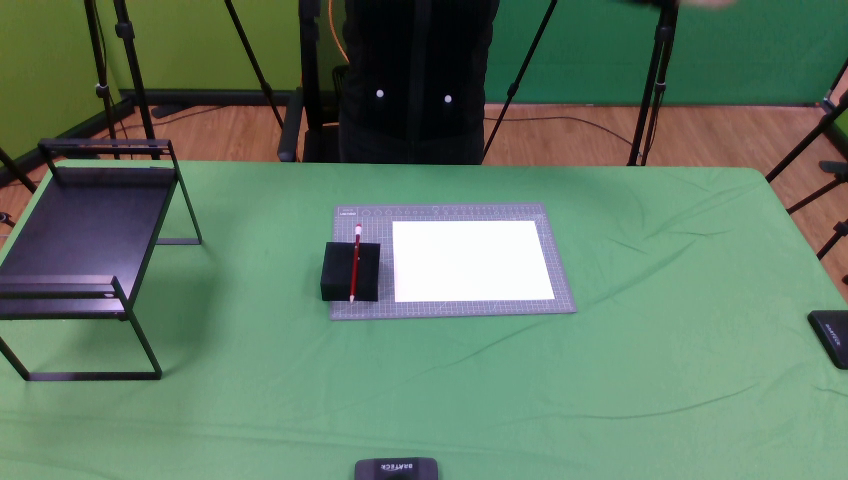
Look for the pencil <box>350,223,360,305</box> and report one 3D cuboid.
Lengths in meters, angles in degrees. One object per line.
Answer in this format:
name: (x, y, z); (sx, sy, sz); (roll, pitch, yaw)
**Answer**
pencil: (-0.124, 0.040, 1.086); (0.012, 0.012, 0.193); (1, 46, -3)
